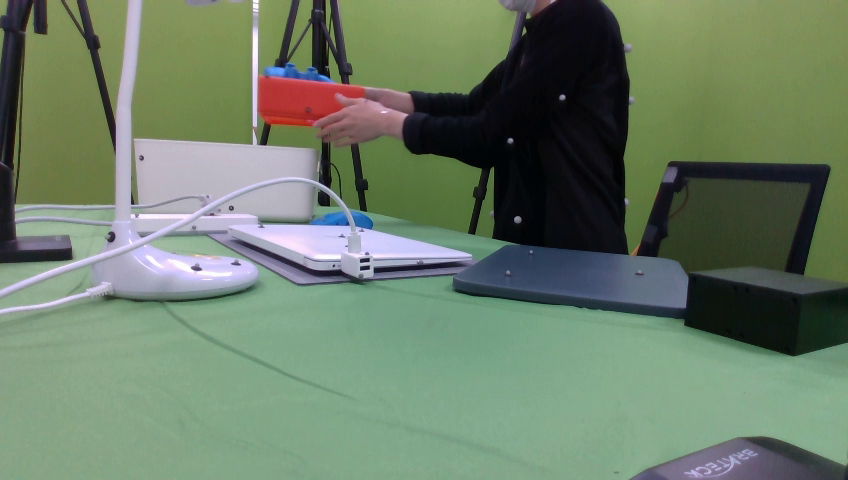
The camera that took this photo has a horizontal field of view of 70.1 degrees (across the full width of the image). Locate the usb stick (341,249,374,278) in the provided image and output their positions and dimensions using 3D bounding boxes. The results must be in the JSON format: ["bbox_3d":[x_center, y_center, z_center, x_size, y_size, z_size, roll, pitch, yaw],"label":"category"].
[{"bbox_3d":[-0.079,0.026,0.686,0.021,0.027,0.059,-7,9,-31],"label":"usb stick"}]

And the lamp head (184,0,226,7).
[{"bbox_3d":[-0.229,-0.320,0.627,0.112,0.112,0.123,6,-36,26],"label":"lamp head"}]

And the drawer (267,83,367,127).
[{"bbox_3d":[-0.236,-0.294,1.324,0.212,0.073,0.194,2,8,-10],"label":"drawer"}]

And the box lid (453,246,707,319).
[{"bbox_3d":[0.203,0.044,0.780,0.262,0.015,0.372,5,7,17],"label":"box lid"}]

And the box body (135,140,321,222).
[{"bbox_3d":[-0.420,-0.133,1.354,0.365,0.160,0.253,2,7,-8],"label":"box body"}]

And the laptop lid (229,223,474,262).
[{"bbox_3d":[-0.121,0.000,0.888,0.243,0.013,0.355,1,7,-33],"label":"laptop lid"}]

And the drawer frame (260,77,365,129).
[{"bbox_3d":[-0.239,-0.295,1.324,0.214,0.082,0.201,2,6,-10],"label":"drawer frame"}]

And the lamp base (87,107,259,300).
[{"bbox_3d":[-0.254,-0.039,0.603,0.160,0.180,0.179,4,10,18],"label":"lamp base"}]

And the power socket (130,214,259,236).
[{"bbox_3d":[-0.397,-0.028,1.048,0.228,0.032,0.072,-3,7,-35],"label":"power socket"}]

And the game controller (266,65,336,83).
[{"bbox_3d":[-0.265,-0.346,1.308,0.156,0.051,0.096,1,1,-35],"label":"game controller"}]

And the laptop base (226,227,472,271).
[{"bbox_3d":[-0.124,0.011,0.888,0.237,0.023,0.352,2,6,-35],"label":"laptop base"}]

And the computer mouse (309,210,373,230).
[{"bbox_3d":[-0.157,-0.034,1.139,0.118,0.041,0.062,-6,11,-28],"label":"computer mouse"}]

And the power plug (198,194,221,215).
[{"bbox_3d":[-0.386,-0.056,1.088,0.035,0.052,0.072,-1,7,-24],"label":"power plug"}]
